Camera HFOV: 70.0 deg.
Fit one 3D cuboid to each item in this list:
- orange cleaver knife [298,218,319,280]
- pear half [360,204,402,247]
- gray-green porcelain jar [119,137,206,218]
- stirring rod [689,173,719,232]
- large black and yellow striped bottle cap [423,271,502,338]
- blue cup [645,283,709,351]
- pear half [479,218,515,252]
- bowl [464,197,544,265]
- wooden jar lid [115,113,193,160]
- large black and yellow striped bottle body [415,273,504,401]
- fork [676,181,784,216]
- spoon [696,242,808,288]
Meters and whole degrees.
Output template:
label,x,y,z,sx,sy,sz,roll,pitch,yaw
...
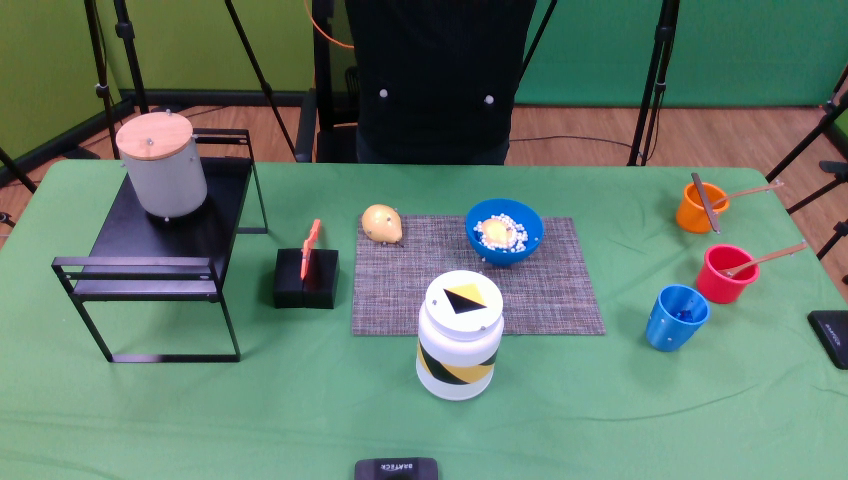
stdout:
label,x,y,z,sx,sy,sz,roll,pitch,yaw
orange cleaver knife,-0.215,0.013,1.125,0.012,0.077,0.210,9,17,-6
pear half,-0.077,-0.028,1.195,0.076,0.056,0.109,-36,61,-25
gray-green porcelain jar,-0.403,-0.106,0.946,0.106,0.127,0.105,3,46,-2
stirring rod,0.566,-0.080,1.225,0.014,0.006,0.175,2,46,2
large black and yellow striped bottle cap,0.057,0.092,0.883,0.115,0.019,0.114,3,45,-3
blue cup,0.426,0.139,1.041,0.093,0.100,0.092,4,46,-4
pear half,0.145,-0.013,1.167,0.070,0.031,0.087,-20,55,-20
bowl,0.149,-0.004,1.167,0.151,0.077,0.150,2,46,-2
wooden jar lid,-0.399,-0.151,0.900,0.108,0.021,0.107,3,46,-3
large black and yellow striped bottle body,0.054,0.150,0.943,0.131,0.185,0.130,2,46,-2
fork,0.618,-0.083,1.235,0.207,0.019,0.028,-23,21,38
spoon,0.601,0.045,1.116,0.194,0.022,0.041,-29,34,30
